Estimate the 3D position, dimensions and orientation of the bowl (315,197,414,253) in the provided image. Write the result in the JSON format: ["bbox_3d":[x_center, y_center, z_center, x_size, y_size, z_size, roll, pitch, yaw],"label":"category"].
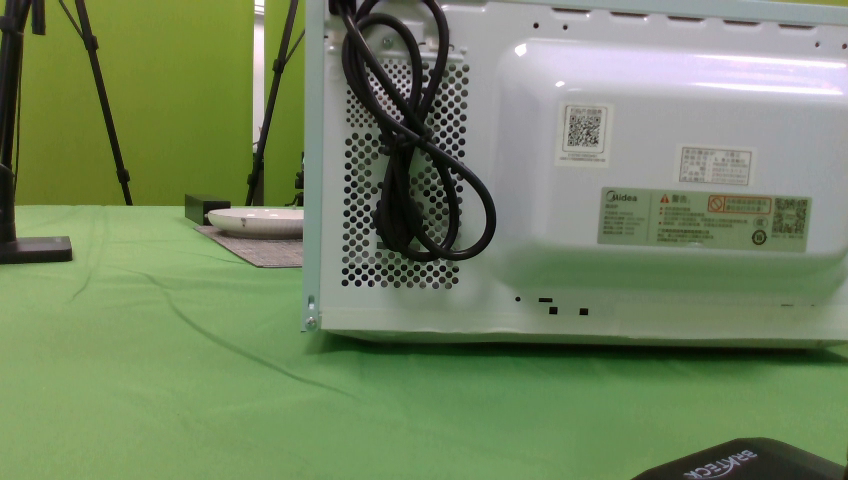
[{"bbox_3d":[-0.092,-0.023,0.931,0.151,0.077,0.151,3,7,0],"label":"bowl"}]

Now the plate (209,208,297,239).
[{"bbox_3d":[-0.271,-0.029,1.074,0.208,0.039,0.207,3,7,0],"label":"plate"}]

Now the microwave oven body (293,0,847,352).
[{"bbox_3d":[0.122,-0.055,0.550,0.442,0.260,0.325,3,7,-5],"label":"microwave oven body"}]

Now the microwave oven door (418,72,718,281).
[{"bbox_3d":[0.167,-0.086,0.765,0.355,0.243,0.039,5,7,19],"label":"microwave oven door"}]

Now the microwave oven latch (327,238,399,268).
[{"bbox_3d":[-0.069,0.015,0.694,0.079,0.029,0.030,3,7,-3],"label":"microwave oven latch"}]
